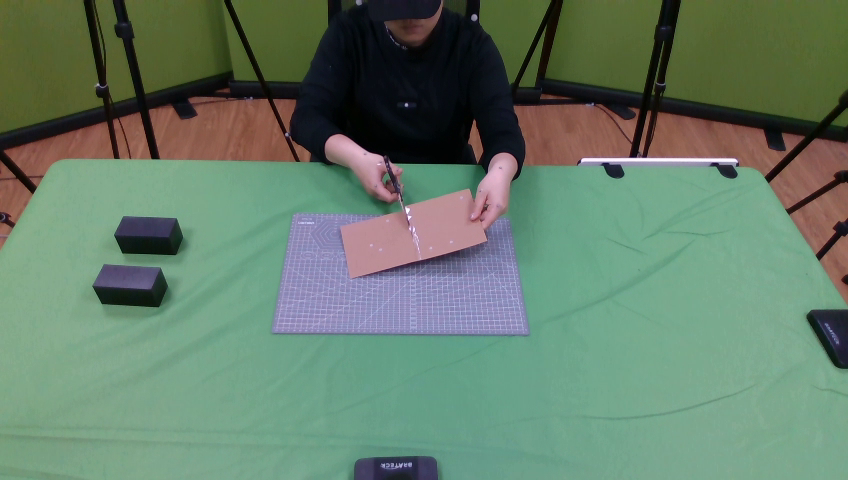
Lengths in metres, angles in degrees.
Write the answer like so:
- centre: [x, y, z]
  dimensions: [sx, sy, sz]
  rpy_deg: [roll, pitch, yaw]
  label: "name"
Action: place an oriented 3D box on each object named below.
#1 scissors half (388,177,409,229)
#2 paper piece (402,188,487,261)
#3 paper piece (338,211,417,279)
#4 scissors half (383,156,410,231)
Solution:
- centre: [-0.052, -0.085, 1.234]
  dimensions: [0.013, 0.040, 0.174]
  rpy_deg: [-17, 48, -3]
  label: "scissors half"
- centre: [0.038, -0.032, 1.168]
  dimensions: [0.138, 0.009, 0.135]
  rpy_deg: [-14, 61, -1]
  label: "paper piece"
- centre: [-0.092, 0.006, 1.169]
  dimensions: [0.135, 0.004, 0.135]
  rpy_deg: [-15, 51, -2]
  label: "paper piece"
- centre: [-0.055, -0.096, 1.216]
  dimensions: [0.013, 0.040, 0.174]
  rpy_deg: [-20, 72, 2]
  label: "scissors half"
